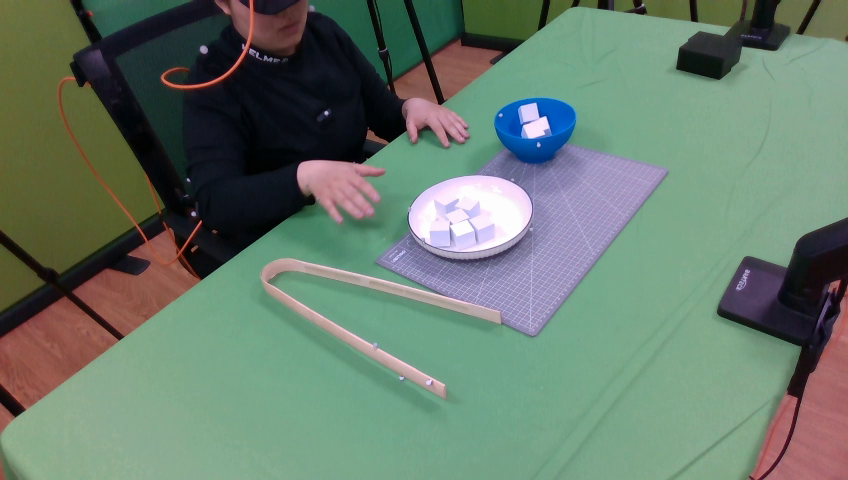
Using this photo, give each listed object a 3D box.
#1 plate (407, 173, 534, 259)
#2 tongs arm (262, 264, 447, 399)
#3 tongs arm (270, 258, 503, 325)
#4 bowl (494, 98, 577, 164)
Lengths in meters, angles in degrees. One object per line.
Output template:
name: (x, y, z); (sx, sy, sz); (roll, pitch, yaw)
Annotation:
plate: (0.076, -0.037, 0.997); (0.207, 0.039, 0.206); (-5, 40, 5)
tongs arm: (-0.110, 0.117, 0.854); (0.381, 0.026, 0.051); (21, 48, 33)
tongs arm: (-0.066, 0.074, 0.904); (0.385, 0.028, 0.028); (11, 47, 23)
bowl: (0.207, -0.196, 1.128); (0.151, 0.077, 0.150); (-5, 40, 5)
